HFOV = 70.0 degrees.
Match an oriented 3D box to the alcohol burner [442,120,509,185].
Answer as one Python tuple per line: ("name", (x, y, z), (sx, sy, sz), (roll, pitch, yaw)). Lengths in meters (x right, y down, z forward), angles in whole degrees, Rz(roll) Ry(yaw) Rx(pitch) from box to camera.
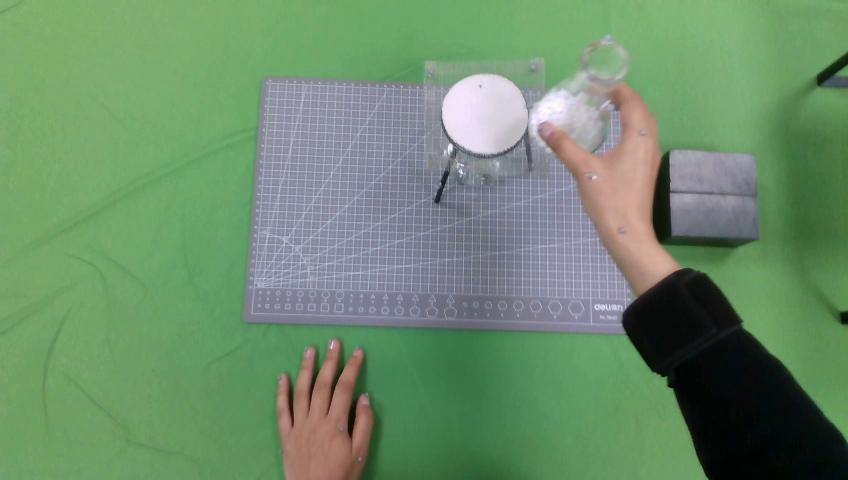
("alcohol burner", (0.059, -0.103, 0.677), (0.078, 0.119, 0.077), (0, 80, 1))

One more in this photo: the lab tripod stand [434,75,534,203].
("lab tripod stand", (0.058, -0.114, 0.669), (0.148, 0.132, 0.147), (0, 79, 0))

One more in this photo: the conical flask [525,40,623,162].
("conical flask", (0.133, -0.120, 0.518), (0.075, 0.122, 0.075), (0, 78, -1))

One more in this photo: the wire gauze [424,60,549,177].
("wire gauze", (0.062, -0.122, 0.601), (0.125, 0.011, 0.121), (1, 79, -1))
